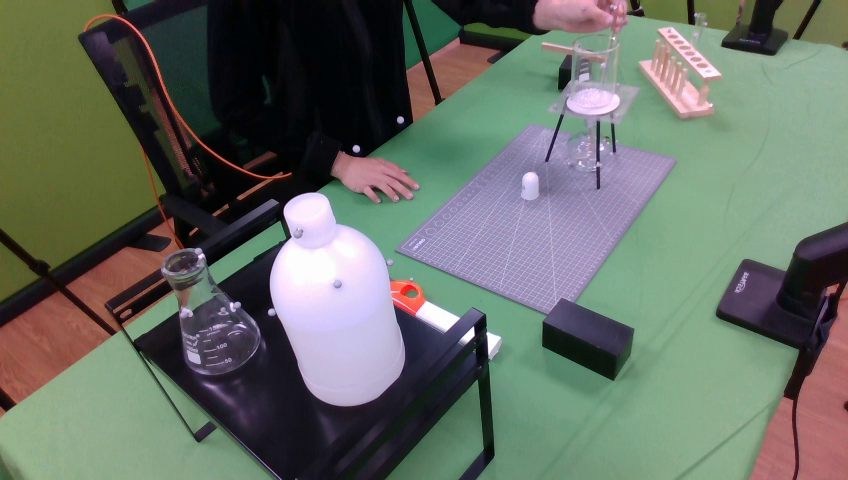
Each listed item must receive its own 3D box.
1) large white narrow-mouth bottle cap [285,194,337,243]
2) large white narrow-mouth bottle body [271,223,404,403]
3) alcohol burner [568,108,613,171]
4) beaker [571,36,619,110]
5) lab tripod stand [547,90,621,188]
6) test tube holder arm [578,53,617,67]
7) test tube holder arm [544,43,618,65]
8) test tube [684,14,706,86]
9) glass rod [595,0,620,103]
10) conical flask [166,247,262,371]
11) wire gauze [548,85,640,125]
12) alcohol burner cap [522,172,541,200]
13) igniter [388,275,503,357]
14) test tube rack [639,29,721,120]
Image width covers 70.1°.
[{"bbox_3d":[-0.087,-0.017,0.468,0.038,0.024,0.037,-4,40,4],"label":"large white narrow-mouth bottle cap"},{"bbox_3d":[-0.077,0.048,0.525,0.102,0.195,0.101,-5,40,4],"label":"large white narrow-mouth bottle body"},{"bbox_3d":[0.296,-0.182,1.074,0.078,0.119,0.077,-5,43,5],"label":"alcohol burner"},{"bbox_3d":[0.280,-0.273,0.992,0.084,0.101,0.073,-24,42,-16],"label":"beaker"},{"bbox_3d":[0.289,-0.184,1.062,0.148,0.132,0.147,-6,41,6],"label":"lab tripod stand"},{"bbox_3d":[0.376,-0.394,1.314,0.087,0.015,0.010,26,49,32],"label":"test tube holder arm"},{"bbox_3d":[0.345,-0.413,1.341,0.177,0.015,0.013,25,49,32],"label":"test tube holder arm"},{"bbox_3d":[0.541,-0.378,1.215,0.017,0.151,0.017,-2,44,3],"label":"test tube"},{"bbox_3d":[0.288,-0.307,0.942,0.008,0.200,0.008,1,38,0],"label":"glass rod"},{"bbox_3d":[-0.209,0.064,0.584,0.075,0.122,0.075,-5,40,4],"label":"conical flask"},{"bbox_3d":[0.286,-0.233,1.020,0.124,0.011,0.122,15,43,30],"label":"wire gauze"},{"bbox_3d":[0.186,-0.096,1.047,0.034,0.048,0.033,-5,39,4],"label":"alcohol burner cap"},{"bbox_3d":[-0.008,0.093,0.870,0.274,0.025,0.057,24,60,33],"label":"igniter"},{"bbox_3d":[0.527,-0.351,1.262,0.067,0.085,0.241,-8,40,1],"label":"test tube rack"}]
